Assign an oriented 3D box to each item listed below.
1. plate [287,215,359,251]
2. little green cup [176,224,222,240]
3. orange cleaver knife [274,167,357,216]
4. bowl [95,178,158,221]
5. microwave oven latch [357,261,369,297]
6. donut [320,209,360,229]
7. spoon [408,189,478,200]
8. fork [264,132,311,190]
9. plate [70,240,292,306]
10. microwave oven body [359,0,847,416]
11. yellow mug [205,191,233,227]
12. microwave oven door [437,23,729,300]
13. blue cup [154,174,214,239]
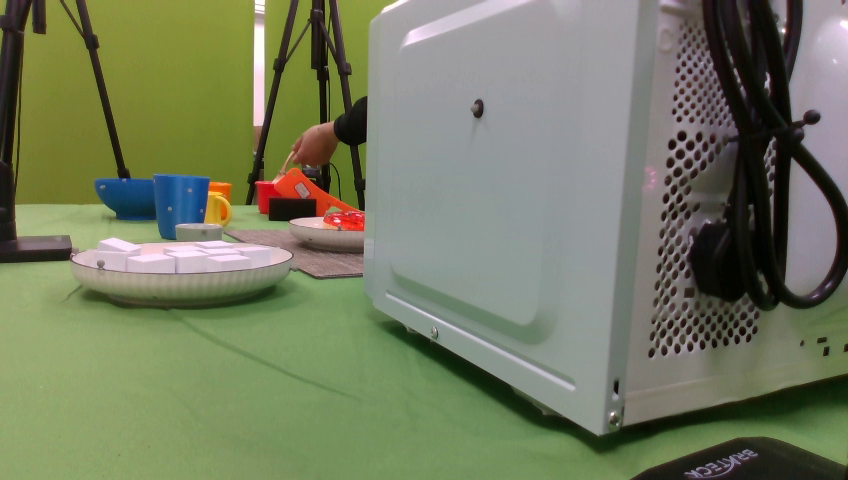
[{"bbox_3d":[-0.112,-0.012,0.960,0.209,0.038,0.209,3,8,0],"label":"plate"},{"bbox_3d":[-0.312,-0.001,0.842,0.061,0.038,0.061,2,8,0],"label":"little green cup"},{"bbox_3d":[-0.238,-0.091,1.381,0.212,0.077,0.012,31,0,-19],"label":"orange cleaver knife"},{"bbox_3d":[-0.576,-0.081,1.217,0.151,0.077,0.151,3,8,0],"label":"bowl"},{"bbox_3d":[-0.019,0.033,0.530,0.079,0.029,0.030,-1,7,-26],"label":"microwave oven latch"},{"bbox_3d":[-0.115,-0.023,0.962,0.099,0.048,0.099,5,9,0],"label":"donut"},{"bbox_3d":[0.049,-0.112,1.440,0.195,0.021,0.041,-9,-9,-31],"label":"spoon"},{"bbox_3d":[-0.336,-0.199,1.509,0.028,0.207,0.019,7,-33,32],"label":"fork"},{"bbox_3d":[-0.242,0.032,0.618,0.208,0.039,0.207,2,8,0],"label":"plate"},{"bbox_3d":[0.211,-0.047,0.474,0.444,0.260,0.324,-1,7,-28],"label":"microwave oven body"},{"bbox_3d":[-0.415,-0.057,1.132,0.130,0.064,0.100,6,8,16],"label":"yellow mug"},{"bbox_3d":[0.181,-0.072,0.621,0.358,0.243,0.039,-2,9,-29],"label":"microwave oven door"},{"bbox_3d":[-0.390,-0.053,0.978,0.093,0.100,0.092,3,6,0],"label":"blue cup"}]
